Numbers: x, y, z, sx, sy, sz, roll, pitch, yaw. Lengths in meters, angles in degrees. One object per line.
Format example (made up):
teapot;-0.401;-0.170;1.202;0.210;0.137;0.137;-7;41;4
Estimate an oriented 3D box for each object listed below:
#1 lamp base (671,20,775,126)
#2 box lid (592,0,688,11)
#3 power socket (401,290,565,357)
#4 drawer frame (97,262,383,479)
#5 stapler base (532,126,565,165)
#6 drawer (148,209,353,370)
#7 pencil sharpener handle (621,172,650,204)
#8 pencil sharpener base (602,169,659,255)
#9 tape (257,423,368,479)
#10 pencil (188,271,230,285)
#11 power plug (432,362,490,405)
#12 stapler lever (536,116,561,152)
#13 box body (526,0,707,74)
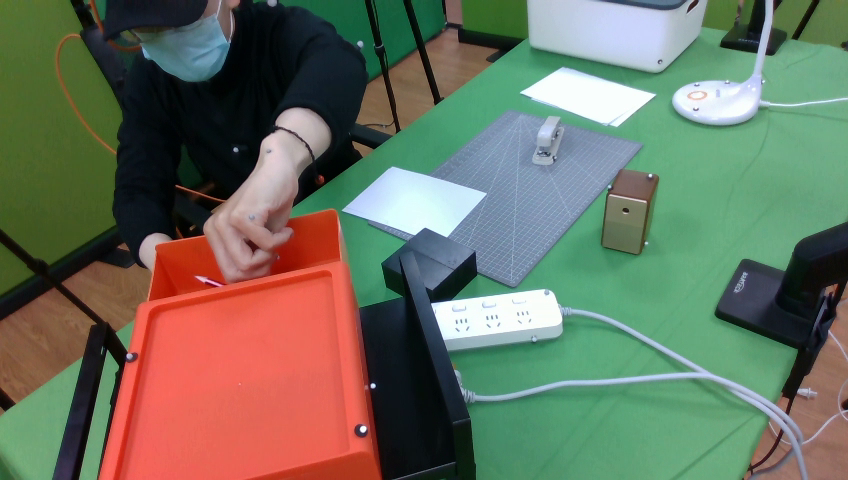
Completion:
lamp base;0.582;-0.331;1.153;0.179;0.181;0.160;2;42;7
box lid;0.441;-0.596;1.383;0.368;0.015;0.264;24;49;31
power socket;0.080;0.113;0.821;0.227;0.033;0.072;-6;41;0
drawer frame;-0.148;0.130;0.519;0.202;0.083;0.212;-11;41;-6
stapler base;0.238;-0.189;1.155;0.041;0.024;0.130;10;42;18
drawer;-0.167;0.074;0.590;0.195;0.073;0.210;-11;41;-5
pencil sharpener handle;0.328;-0.086;0.940;0.036;0.068;0.030;30;49;8
pencil sharpener base;0.312;-0.044;0.913;0.061;0.107;0.077;14;44;24
tape;-0.121;0.263;0.659;0.117;0.053;0.116;-4;39;4
pencil;-0.155;0.061;0.615;0.193;0.012;0.012;17;45;9
power plug;0.044;0.182;0.759;0.073;0.035;0.052;25;41;-20
stapler lever;0.236;-0.208;1.140;0.026;0.040;0.118;10;43;18
box body;0.450;-0.540;1.430;0.361;0.161;0.255;24;50;31
